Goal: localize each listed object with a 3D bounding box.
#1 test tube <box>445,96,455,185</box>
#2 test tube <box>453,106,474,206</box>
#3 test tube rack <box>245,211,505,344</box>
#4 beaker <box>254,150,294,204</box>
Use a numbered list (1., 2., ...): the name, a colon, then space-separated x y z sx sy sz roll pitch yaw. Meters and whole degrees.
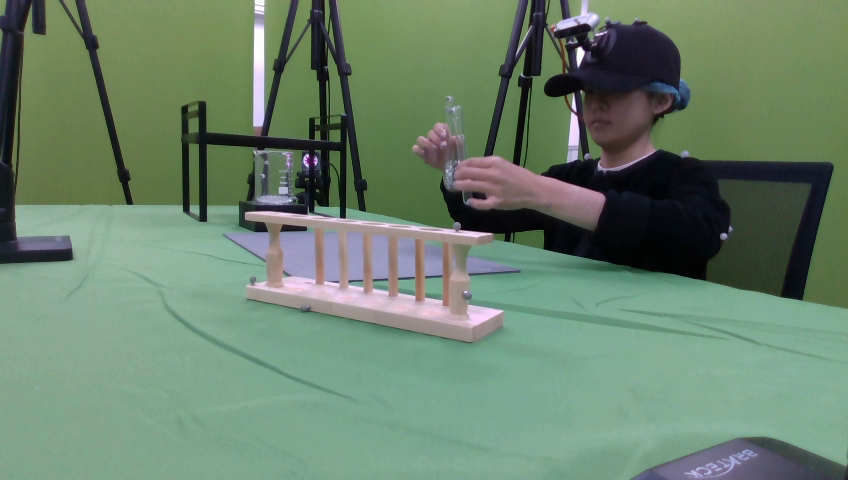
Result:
1. test tube: 0.044 -0.168 1.024 0.017 0.150 0.017 0 8 0
2. test tube: 0.059 -0.126 0.905 0.017 0.150 0.017 -7 3 1
3. test tube rack: -0.049 0.024 0.547 0.241 0.085 0.067 7 8 29
4. beaker: -0.289 -0.120 1.151 0.073 0.100 0.084 7 9 33
